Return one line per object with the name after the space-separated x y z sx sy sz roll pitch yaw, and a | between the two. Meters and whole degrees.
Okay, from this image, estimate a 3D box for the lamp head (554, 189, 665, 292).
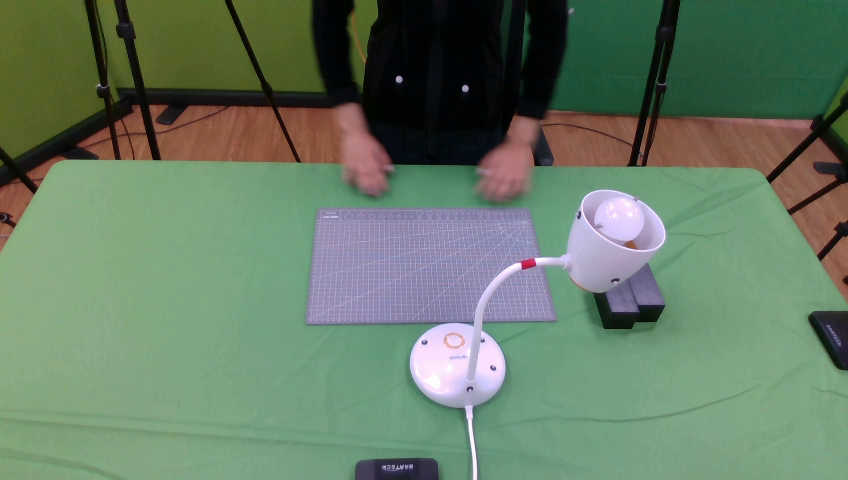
0.234 0.012 0.796 0.113 0.123 0.111 13 43 -12 | lamp head

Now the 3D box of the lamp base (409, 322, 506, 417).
0.063 0.160 0.941 0.161 0.181 0.178 -10 50 -13 | lamp base

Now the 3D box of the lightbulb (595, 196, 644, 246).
0.243 -0.008 0.784 0.059 0.108 0.059 8 40 -7 | lightbulb
